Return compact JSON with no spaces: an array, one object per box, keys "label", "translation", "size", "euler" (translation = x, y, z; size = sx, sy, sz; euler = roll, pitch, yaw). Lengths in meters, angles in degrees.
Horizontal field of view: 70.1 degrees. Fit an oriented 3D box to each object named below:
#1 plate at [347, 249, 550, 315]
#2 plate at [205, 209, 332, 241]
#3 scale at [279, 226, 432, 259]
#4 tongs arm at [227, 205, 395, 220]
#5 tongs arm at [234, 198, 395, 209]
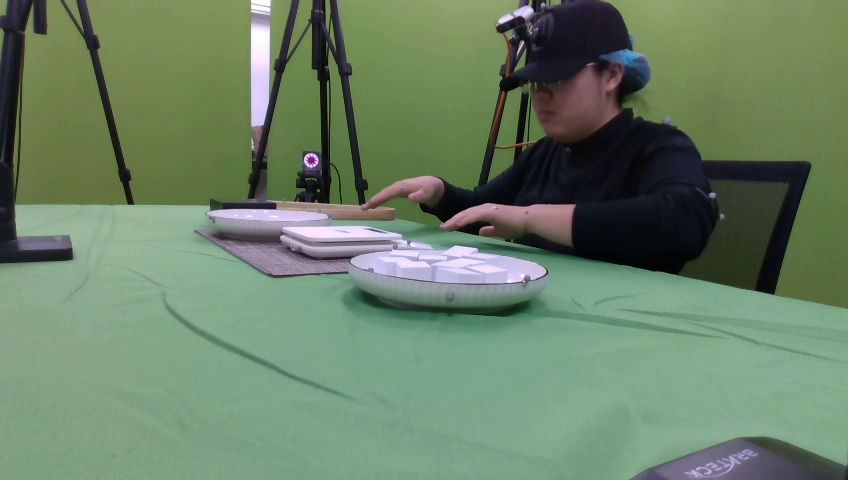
[{"label":"plate","translation":[0.025,0.042,0.627],"size":[0.209,0.038,0.209],"euler":[2,7,0]},{"label":"plate","translation":[-0.262,-0.026,1.030],"size":[0.208,0.039,0.207],"euler":[3,7,0]},{"label":"scale","translation":[-0.100,0.001,0.899],"size":[0.202,0.031,0.148],"euler":[-1,9,-31]},{"label":"tongs arm","translation":[-0.247,-0.062,1.381],"size":[0.389,0.028,0.028],"euler":[0,5,-21]},{"label":"tongs arm","translation":[-0.263,-0.076,1.460],"size":[0.386,0.026,0.050],"euler":[3,7,-8]}]
